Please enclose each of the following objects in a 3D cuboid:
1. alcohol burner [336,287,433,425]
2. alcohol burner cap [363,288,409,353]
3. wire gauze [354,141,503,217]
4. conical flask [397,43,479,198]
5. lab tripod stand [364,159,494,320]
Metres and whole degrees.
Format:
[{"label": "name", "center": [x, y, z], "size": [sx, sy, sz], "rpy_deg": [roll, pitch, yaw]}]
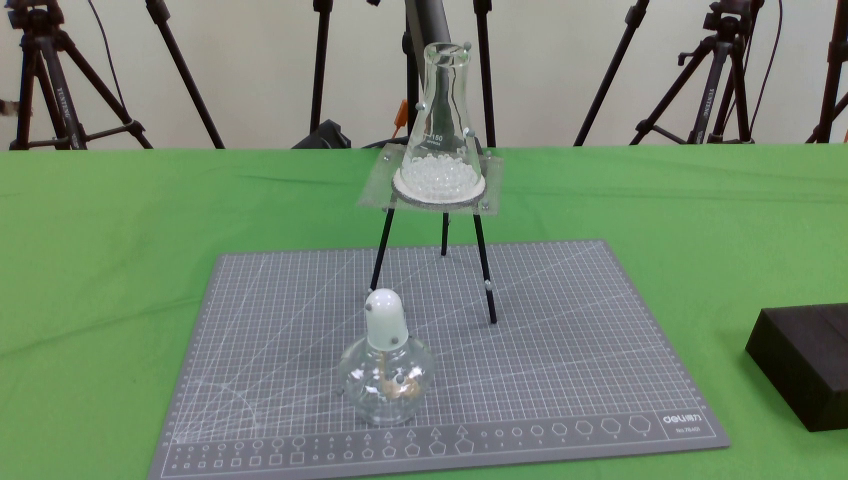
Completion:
[{"label": "alcohol burner", "center": [-0.031, 0.087, 0.478], "size": [0.078, 0.120, 0.077], "rpy_deg": [1, 32, 0]}, {"label": "alcohol burner cap", "center": [-0.030, 0.058, 0.457], "size": [0.034, 0.048, 0.033], "rpy_deg": [-4, 37, 3]}, {"label": "wire gauze", "center": [0.009, -0.056, 0.558], "size": [0.121, 0.011, 0.124], "rpy_deg": [6, 36, 6]}, {"label": "conical flask", "center": [0.015, -0.104, 0.521], "size": [0.075, 0.123, 0.074], "rpy_deg": [2, 35, -1]}, {"label": "lab tripod stand", "center": [0.014, -0.001, 0.594], "size": [0.148, 0.132, 0.147], "rpy_deg": [3, 34, -2]}]
